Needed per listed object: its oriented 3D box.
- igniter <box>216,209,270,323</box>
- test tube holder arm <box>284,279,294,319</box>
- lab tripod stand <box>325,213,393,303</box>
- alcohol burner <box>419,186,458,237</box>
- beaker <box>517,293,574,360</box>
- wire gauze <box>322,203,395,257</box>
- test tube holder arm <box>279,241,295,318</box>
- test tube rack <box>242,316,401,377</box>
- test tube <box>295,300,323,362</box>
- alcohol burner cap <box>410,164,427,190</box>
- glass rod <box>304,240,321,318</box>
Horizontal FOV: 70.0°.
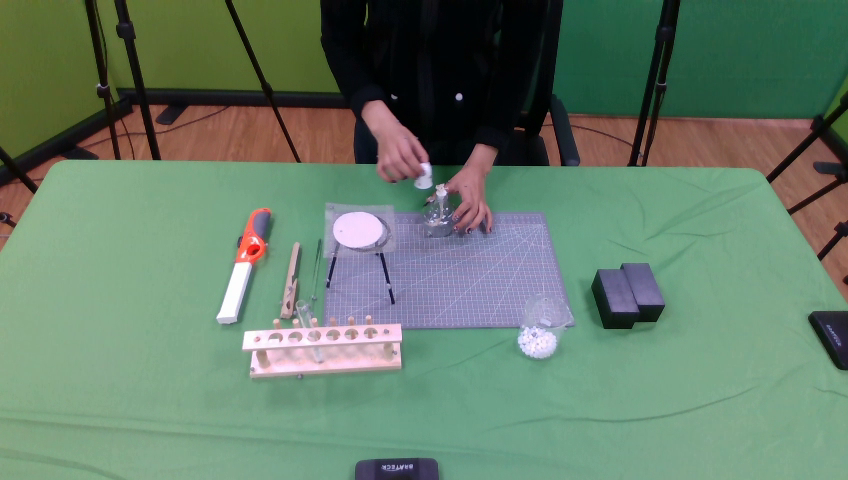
[{"bbox_3d":[-0.335,0.039,1.132,0.057,0.025,0.275,-3,46,6],"label":"igniter"},{"bbox_3d":[-0.242,0.103,1.085,0.010,0.015,0.087,29,37,-30],"label":"test tube holder arm"},{"bbox_3d":[-0.104,0.031,1.080,0.148,0.132,0.147,4,45,-4],"label":"lab tripod stand"},{"bbox_3d":[0.030,-0.063,1.196,0.078,0.119,0.077,3,48,-3],"label":"alcohol burner"},{"bbox_3d":[0.200,0.149,1.018,0.084,0.101,0.073,14,47,8],"label":"beaker"},{"bbox_3d":[-0.111,-0.020,1.035,0.121,0.011,0.124,0,47,-7],"label":"wire gauze"},{"bbox_3d":[-0.250,0.068,1.113,0.013,0.015,0.177,28,37,-31],"label":"test tube holder arm"},{"bbox_3d":[-0.161,0.166,0.983,0.242,0.085,0.066,-2,46,-6],"label":"test tube rack"},{"bbox_3d":[-0.176,0.143,0.935,0.017,0.151,0.017,-2,46,2],"label":"test tube"},{"bbox_3d":[-0.011,-0.120,1.130,0.034,0.048,0.033,0,43,0],"label":"alcohol burner cap"},{"bbox_3d":[-0.207,0.068,1.128,0.008,0.008,0.198,2,43,-2],"label":"glass rod"}]
